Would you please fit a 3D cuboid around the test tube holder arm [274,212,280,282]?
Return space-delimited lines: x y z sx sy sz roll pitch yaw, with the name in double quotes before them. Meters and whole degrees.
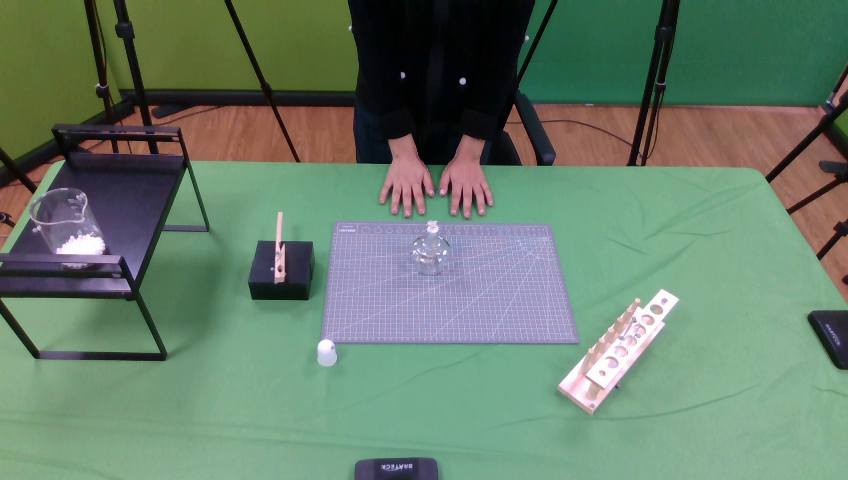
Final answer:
"test tube holder arm" -0.267 0.008 1.103 0.013 0.015 0.177 7 40 -21

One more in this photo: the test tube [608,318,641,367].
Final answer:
"test tube" 0.308 0.169 0.941 0.017 0.151 0.017 1 49 -1

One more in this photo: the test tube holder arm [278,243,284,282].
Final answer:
"test tube holder arm" -0.254 0.039 1.072 0.010 0.015 0.087 8 39 -20

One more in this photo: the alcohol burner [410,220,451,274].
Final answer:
"alcohol burner" 0.013 0.007 1.120 0.078 0.120 0.077 1 48 -1

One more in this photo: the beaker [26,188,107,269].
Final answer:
"beaker" -0.504 -0.013 0.868 0.084 0.101 0.074 23 49 17

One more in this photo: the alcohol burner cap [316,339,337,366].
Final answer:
"alcohol burner cap" -0.161 0.182 0.995 0.034 0.048 0.033 2 47 -2

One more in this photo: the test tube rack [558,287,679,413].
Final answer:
"test tube rack" 0.326 0.170 1.009 0.066 0.085 0.242 36 54 27
